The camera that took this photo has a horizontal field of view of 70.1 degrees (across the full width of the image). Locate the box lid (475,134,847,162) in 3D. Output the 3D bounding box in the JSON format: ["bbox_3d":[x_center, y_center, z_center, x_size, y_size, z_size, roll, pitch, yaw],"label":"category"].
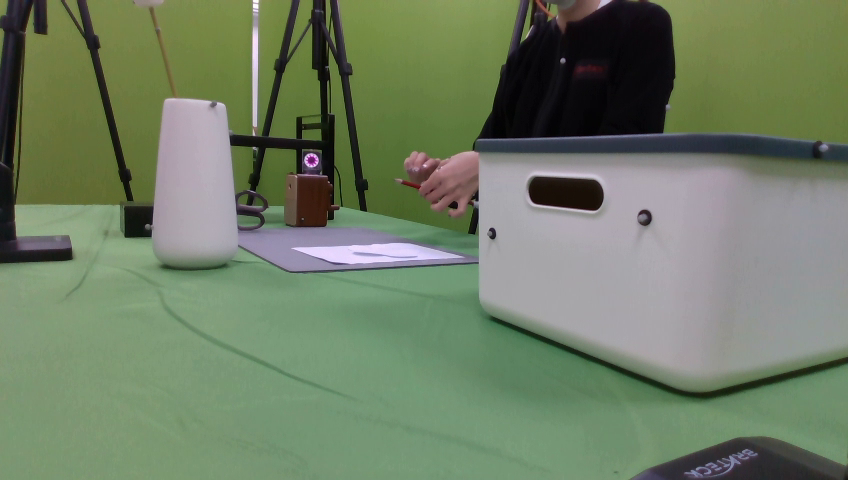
[{"bbox_3d":[0.256,-0.073,0.528,0.373,0.015,0.262,-2,8,-31],"label":"box lid"}]

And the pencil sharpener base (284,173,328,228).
[{"bbox_3d":[-0.239,-0.081,1.231,0.077,0.107,0.061,-2,8,-36],"label":"pencil sharpener base"}]

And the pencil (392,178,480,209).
[{"bbox_3d":[0.030,-0.080,1.048,0.195,0.012,0.012,15,1,-28],"label":"pencil"}]

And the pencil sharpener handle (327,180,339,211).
[{"bbox_3d":[-0.194,-0.094,1.256,0.031,0.067,0.036,-2,-5,-36],"label":"pencil sharpener handle"}]

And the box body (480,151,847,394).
[{"bbox_3d":[0.254,0.002,0.539,0.366,0.160,0.253,-2,8,-31],"label":"box body"}]

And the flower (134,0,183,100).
[{"bbox_3d":[-0.282,-0.147,0.713,0.038,0.362,0.044,-23,24,-31],"label":"flower"}]

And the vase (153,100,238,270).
[{"bbox_3d":[-0.278,-0.066,0.736,0.098,0.200,0.098,2,9,0],"label":"vase"}]

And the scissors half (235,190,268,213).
[{"bbox_3d":[-0.363,-0.070,1.060,0.176,0.040,0.013,0,16,-23],"label":"scissors half"}]

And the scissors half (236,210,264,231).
[{"bbox_3d":[-0.369,-0.051,1.064,0.176,0.040,0.012,19,13,-27],"label":"scissors half"}]
